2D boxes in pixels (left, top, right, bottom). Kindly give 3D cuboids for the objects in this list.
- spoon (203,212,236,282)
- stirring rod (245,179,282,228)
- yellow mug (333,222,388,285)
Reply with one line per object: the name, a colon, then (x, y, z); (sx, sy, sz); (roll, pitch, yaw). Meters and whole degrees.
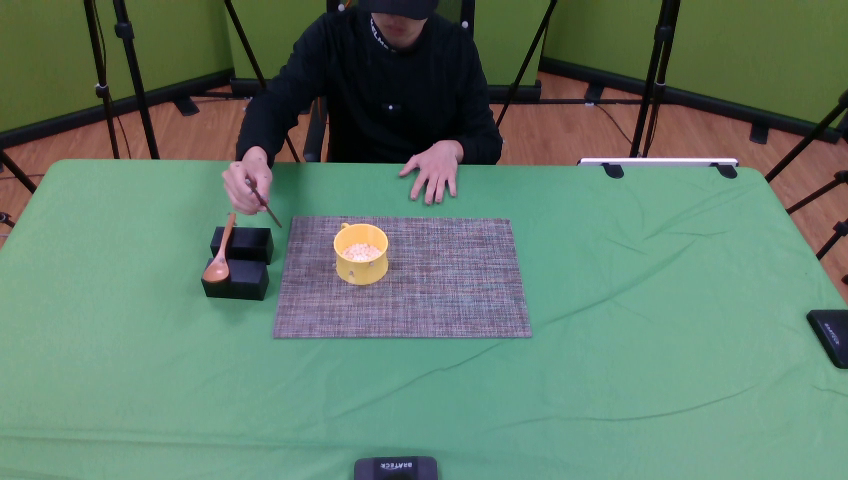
spoon: (-0.361, 0.009, 1.097); (0.041, 0.022, 0.192); (0, 44, -3)
stirring rod: (-0.275, -0.060, 1.047); (0.014, 0.177, 0.006); (38, 75, 18)
yellow mug: (-0.127, 0.016, 1.139); (0.100, 0.064, 0.130); (-23, 51, -24)
